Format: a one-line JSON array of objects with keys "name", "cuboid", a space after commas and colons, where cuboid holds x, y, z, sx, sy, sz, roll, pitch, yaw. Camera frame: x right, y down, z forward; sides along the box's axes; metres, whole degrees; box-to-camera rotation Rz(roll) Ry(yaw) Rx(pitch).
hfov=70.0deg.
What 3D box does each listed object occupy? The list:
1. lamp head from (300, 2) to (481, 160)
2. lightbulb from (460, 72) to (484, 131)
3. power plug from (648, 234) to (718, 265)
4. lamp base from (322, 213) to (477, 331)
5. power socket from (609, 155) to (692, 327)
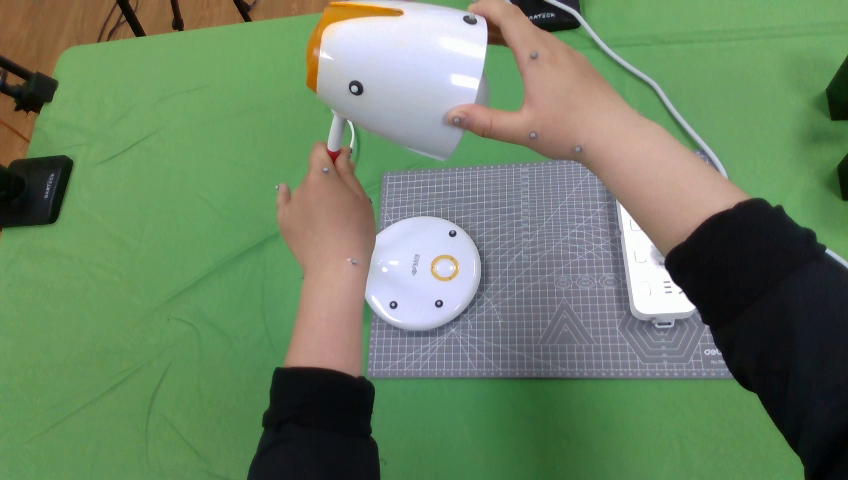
[{"name": "lamp head", "cuboid": [-0.031, -0.124, 0.456, 0.123, 0.113, 0.111, 8, 67, -9]}, {"name": "lightbulb", "cuboid": [-0.007, -0.118, 0.454, 0.108, 0.059, 0.059, 20, 70, -11]}, {"name": "power plug", "cuboid": [0.303, 0.015, 0.716, 0.072, 0.053, 0.035, 7, 70, 11]}, {"name": "lamp base", "cuboid": [-0.038, 0.013, 0.726, 0.179, 0.182, 0.159, -8, 65, 12]}, {"name": "power socket", "cuboid": [0.278, -0.006, 0.750, 0.072, 0.033, 0.225, -4, 66, 9]}]
